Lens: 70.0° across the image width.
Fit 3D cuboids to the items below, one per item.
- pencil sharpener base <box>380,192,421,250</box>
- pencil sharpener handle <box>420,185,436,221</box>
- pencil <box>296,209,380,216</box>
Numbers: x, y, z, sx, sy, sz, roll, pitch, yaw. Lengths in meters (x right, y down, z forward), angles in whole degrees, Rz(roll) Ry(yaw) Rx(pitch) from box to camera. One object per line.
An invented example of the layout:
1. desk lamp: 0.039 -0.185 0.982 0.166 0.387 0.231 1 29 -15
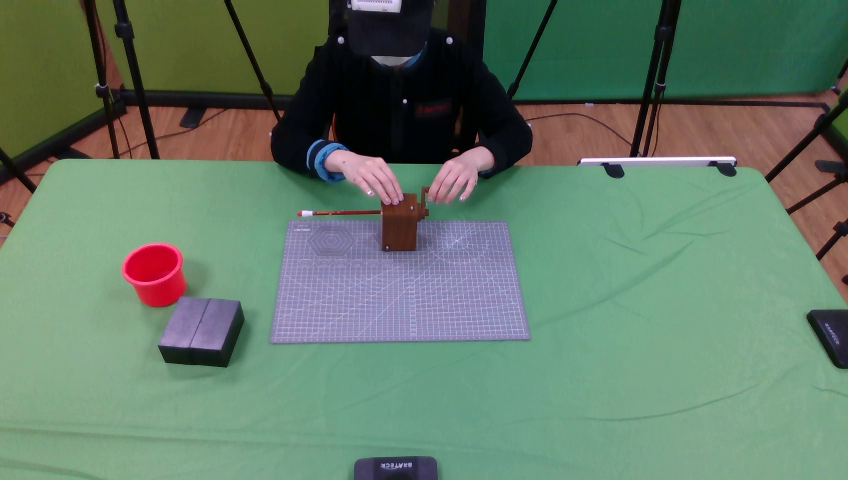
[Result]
1. pencil sharpener base: -0.046 -0.035 1.163 0.077 0.107 0.061 0 46 -4
2. pencil sharpener handle: 0.007 -0.069 1.145 0.031 0.068 0.036 0 9 -4
3. pencil: -0.143 -0.053 1.141 0.194 0.012 0.012 -1 46 0
